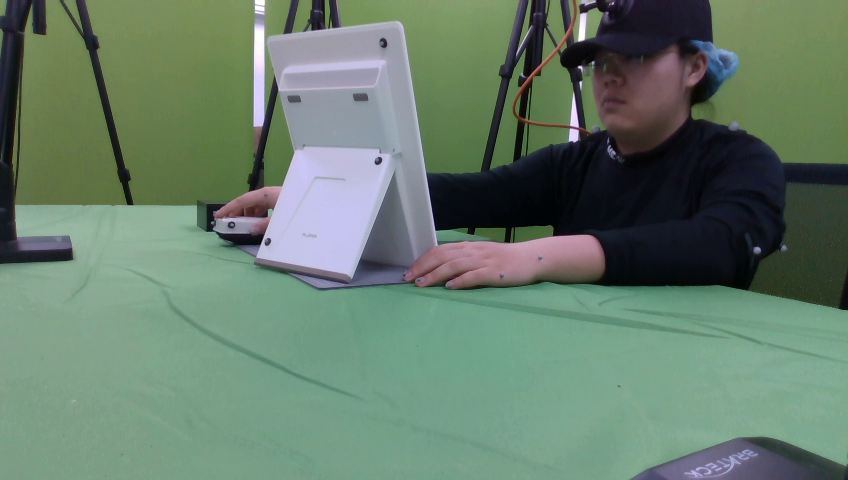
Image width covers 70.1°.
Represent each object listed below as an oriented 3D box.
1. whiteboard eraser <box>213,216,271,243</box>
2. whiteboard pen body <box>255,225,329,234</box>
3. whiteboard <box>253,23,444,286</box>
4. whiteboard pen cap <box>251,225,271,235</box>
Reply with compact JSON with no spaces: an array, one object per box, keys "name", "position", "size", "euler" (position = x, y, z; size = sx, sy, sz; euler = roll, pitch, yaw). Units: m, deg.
[{"name":"whiteboard eraser","position":[-0.265,-0.016,0.941],"size":[0.113,0.042,0.055],"euler":[2,8,-33]},{"name":"whiteboard pen body","position":[-0.239,-0.019,1.105],"size":[0.141,0.017,0.017],"euler":[-2,9,-33]},{"name":"whiteboard","position":[-0.125,-0.080,0.715],"size":[0.216,0.305,0.144],"euler":[9,29,36]},{"name":"whiteboard pen cap","position":[-0.288,-0.018,1.071],"size":[0.033,0.018,0.018],"euler":[-3,9,-34]}]
